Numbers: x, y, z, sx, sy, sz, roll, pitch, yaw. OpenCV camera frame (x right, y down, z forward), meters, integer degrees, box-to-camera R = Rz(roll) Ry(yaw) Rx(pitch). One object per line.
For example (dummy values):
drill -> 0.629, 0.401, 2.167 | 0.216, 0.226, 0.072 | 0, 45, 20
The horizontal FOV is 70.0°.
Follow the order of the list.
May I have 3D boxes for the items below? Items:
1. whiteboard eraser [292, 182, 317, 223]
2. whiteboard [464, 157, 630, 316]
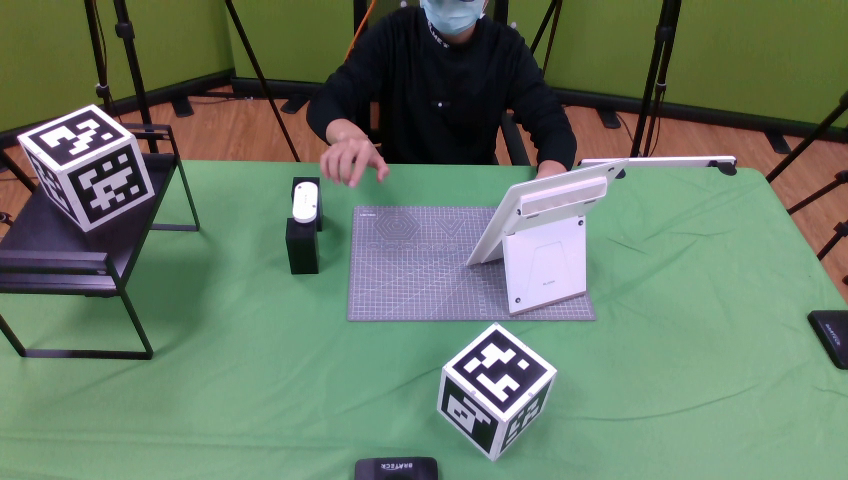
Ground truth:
whiteboard eraser -> -0.219, -0.070, 1.111 | 0.041, 0.019, 0.100 | -2, 45, -3
whiteboard -> 0.224, 0.015, 1.041 | 0.217, 0.306, 0.143 | -14, 68, -17
